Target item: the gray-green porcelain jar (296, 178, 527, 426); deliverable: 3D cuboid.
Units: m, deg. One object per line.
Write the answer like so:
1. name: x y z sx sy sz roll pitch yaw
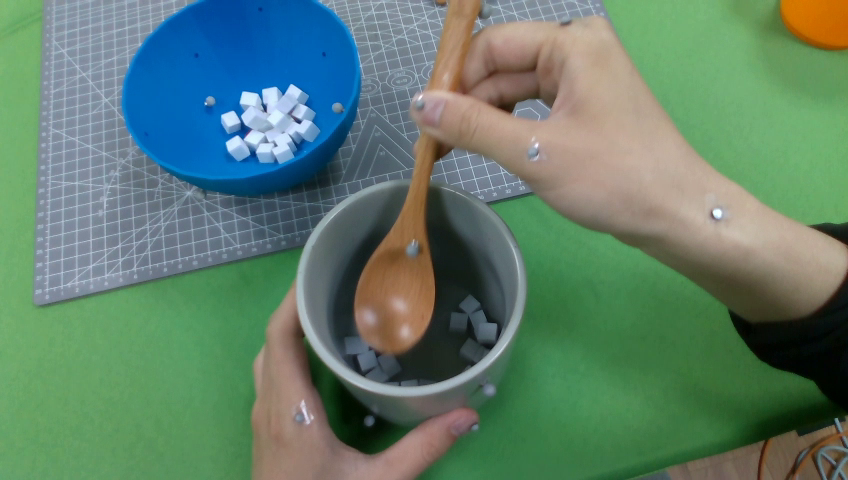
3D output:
1. gray-green porcelain jar: -0.003 0.042 0.328 0.106 0.127 0.105 -1 66 3

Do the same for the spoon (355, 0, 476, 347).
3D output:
1. spoon: 0.001 -0.035 0.277 0.041 0.195 0.021 18 25 10

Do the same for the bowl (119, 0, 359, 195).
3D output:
1. bowl: -0.114 -0.087 0.412 0.151 0.077 0.150 -1 66 3

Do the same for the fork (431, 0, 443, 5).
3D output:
1. fork: -0.017 -0.291 0.495 0.028 0.018 0.207 -16 85 -10
